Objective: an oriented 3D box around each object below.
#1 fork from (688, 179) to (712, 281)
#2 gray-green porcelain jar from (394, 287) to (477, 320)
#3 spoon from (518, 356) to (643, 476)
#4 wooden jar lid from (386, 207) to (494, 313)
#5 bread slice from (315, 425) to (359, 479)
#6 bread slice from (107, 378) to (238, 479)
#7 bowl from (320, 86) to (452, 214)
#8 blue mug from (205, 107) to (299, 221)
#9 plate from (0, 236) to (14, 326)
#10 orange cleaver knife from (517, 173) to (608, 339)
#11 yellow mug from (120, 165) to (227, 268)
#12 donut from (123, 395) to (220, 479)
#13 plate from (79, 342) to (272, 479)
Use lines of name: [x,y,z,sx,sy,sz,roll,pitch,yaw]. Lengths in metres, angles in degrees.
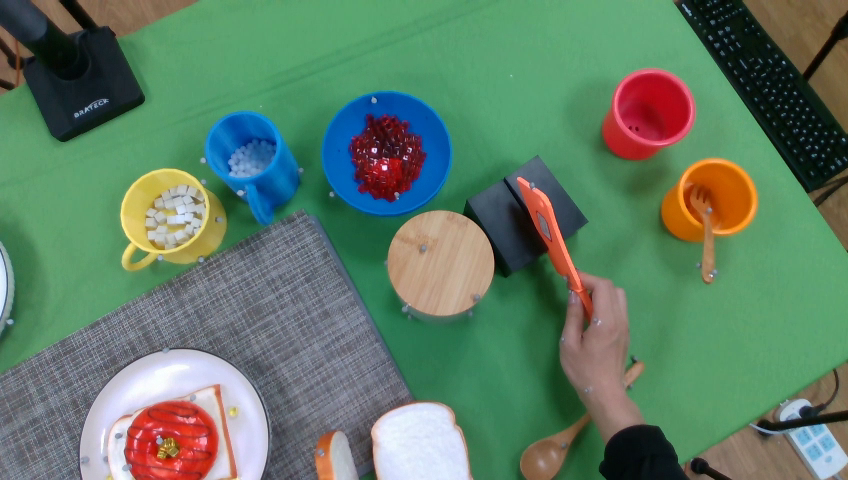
fork: [0.312,-0.017,0.679,0.028,0.019,0.206,33,36,-1]
gray-green porcelain jar: [0.016,0.034,0.675,0.106,0.127,0.105,0,78,-1]
spoon: [0.185,0.199,0.697,0.193,0.022,0.041,-40,63,-8]
wooden jar lid: [0.016,0.020,0.613,0.108,0.021,0.108,1,80,-4]
bread slice: [-0.084,0.264,0.640,0.018,0.107,0.133,-16,76,1]
bread slice: [-0.282,0.224,0.675,0.132,0.019,0.104,-16,79,-8]
bowl: [-0.043,-0.097,0.725,0.151,0.077,0.150,0,79,-1]
blue mug: [-0.194,-0.079,0.704,0.082,0.106,0.116,-9,79,-2]
plate: [-0.578,0.058,0.703,0.208,0.039,0.206,0,79,-1]
orange cleaver knife: [0.156,0.019,0.687,0.012,0.076,0.212,-30,109,-6]
yellow mug: [-0.301,-0.019,0.710,0.099,0.064,0.130,39,82,7]
donut: [-0.267,0.215,0.645,0.099,0.048,0.098,1,79,-5]
plate: [-0.270,0.219,0.673,0.209,0.038,0.208,0,78,-1]
